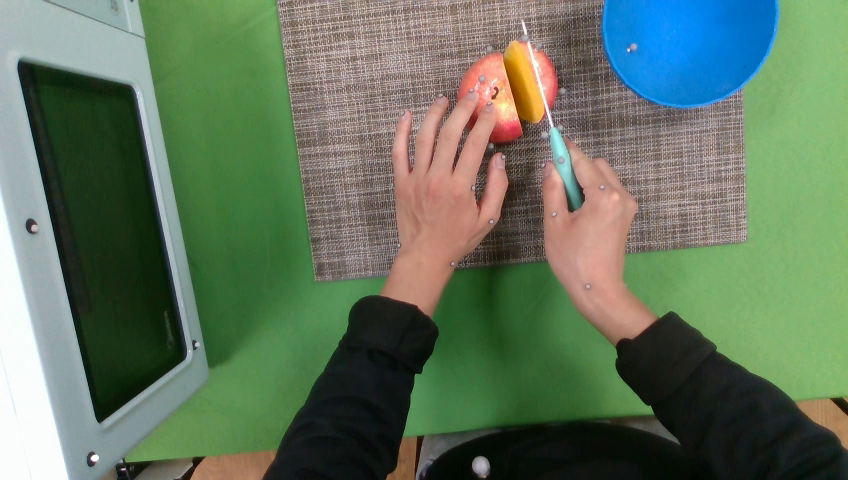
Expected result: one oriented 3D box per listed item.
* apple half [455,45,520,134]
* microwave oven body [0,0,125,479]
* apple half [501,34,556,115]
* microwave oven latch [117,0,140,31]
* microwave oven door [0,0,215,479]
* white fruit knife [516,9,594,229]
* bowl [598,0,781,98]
[{"bbox_3d":[0.057,-0.138,0.575,0.053,0.074,0.081,-16,103,11],"label":"apple half"},{"bbox_3d":[-0.422,-0.033,0.517,0.326,0.259,0.443,-8,99,3],"label":"microwave oven body"},{"bbox_3d":[0.102,-0.159,0.572,0.033,0.081,0.081,-25,97,-7],"label":"apple half"},{"bbox_3d":[-0.296,-0.240,0.575,0.030,0.029,0.079,-8,100,3],"label":"microwave oven latch"},{"bbox_3d":[-0.272,-0.010,0.510,0.039,0.243,0.356,-8,99,4],"label":"microwave oven door"},{"bbox_3d":[0.115,-0.100,0.536,0.016,0.027,0.208,-18,107,17],"label":"white fruit knife"},{"bbox_3d":[0.228,-0.203,0.553,0.151,0.076,0.151,0,99,3],"label":"bowl"}]
